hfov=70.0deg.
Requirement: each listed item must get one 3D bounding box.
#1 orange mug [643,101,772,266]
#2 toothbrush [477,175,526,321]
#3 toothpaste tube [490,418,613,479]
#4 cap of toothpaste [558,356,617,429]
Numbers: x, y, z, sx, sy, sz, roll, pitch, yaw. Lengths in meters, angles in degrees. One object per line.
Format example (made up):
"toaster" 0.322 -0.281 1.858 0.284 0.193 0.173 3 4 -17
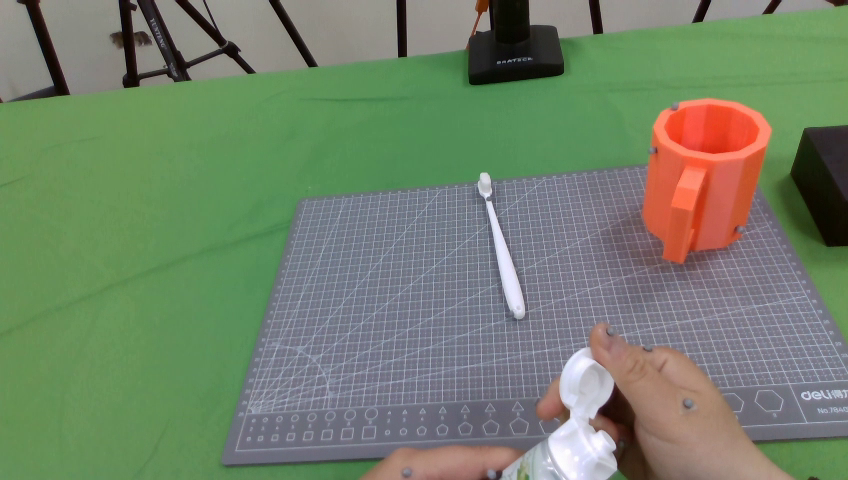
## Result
"orange mug" 0.224 -0.042 0.497 0.083 0.102 0.126 16 45 27
"toothbrush" 0.069 0.001 0.547 0.014 0.017 0.180 1 43 -9
"toothpaste tube" 0.031 0.149 0.308 0.165 0.035 0.054 -47 52 15
"cap of toothpaste" 0.083 0.076 0.303 0.037 0.037 0.011 -32 21 -21
